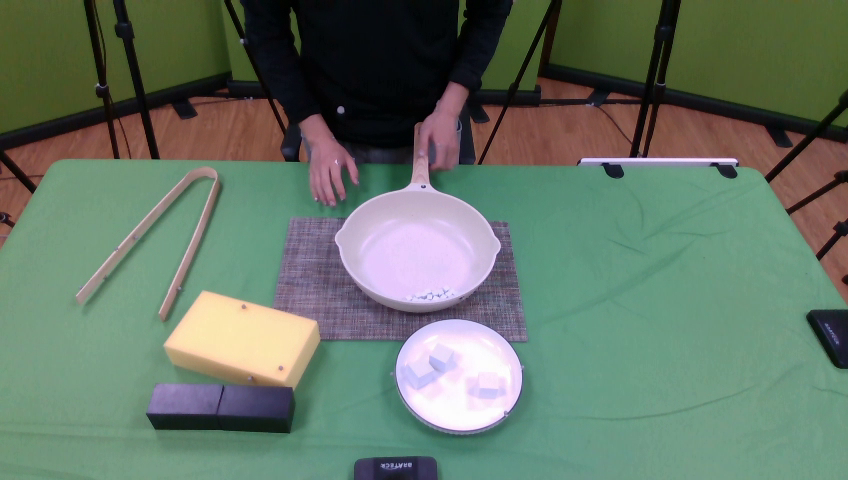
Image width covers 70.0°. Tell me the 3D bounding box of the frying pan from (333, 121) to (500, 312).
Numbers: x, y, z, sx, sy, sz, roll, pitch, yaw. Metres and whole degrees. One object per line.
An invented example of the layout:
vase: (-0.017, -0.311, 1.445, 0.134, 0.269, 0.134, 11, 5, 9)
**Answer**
frying pan: (-0.011, -0.063, 1.194, 0.307, 0.103, 0.485, 4, 55, -2)

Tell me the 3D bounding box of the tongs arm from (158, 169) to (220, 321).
tongs arm: (-0.446, -0.005, 1.164, 0.028, 0.028, 0.385, 2, 46, 0)

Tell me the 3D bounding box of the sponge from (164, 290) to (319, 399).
sponge: (-0.292, 0.167, 0.986, 0.206, 0.061, 0.117, 14, 50, 9)

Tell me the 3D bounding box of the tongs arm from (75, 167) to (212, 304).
tongs arm: (-0.525, -0.021, 1.167, 0.051, 0.026, 0.383, 13, 46, 7)

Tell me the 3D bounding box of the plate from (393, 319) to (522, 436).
plate: (0.053, 0.222, 0.979, 0.208, 0.039, 0.206, 2, 46, -2)
